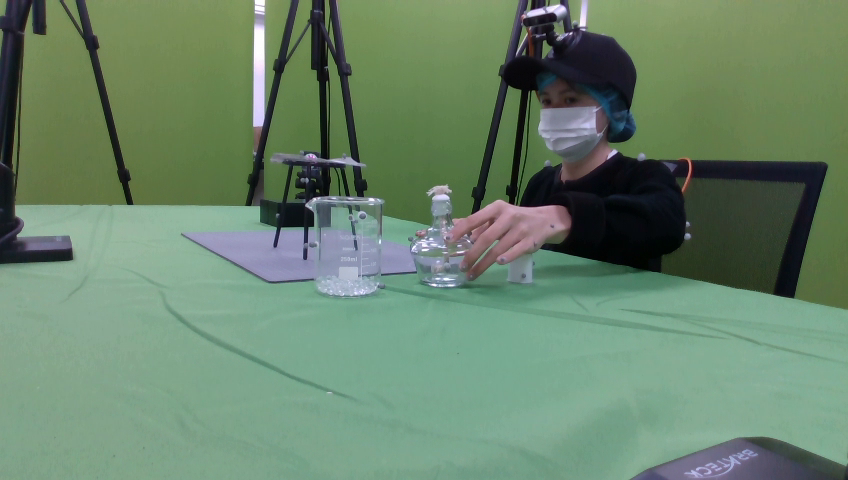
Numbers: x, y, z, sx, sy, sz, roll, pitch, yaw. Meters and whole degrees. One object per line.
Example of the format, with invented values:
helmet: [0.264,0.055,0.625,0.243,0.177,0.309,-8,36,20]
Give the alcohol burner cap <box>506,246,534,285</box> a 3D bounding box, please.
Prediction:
alcohol burner cap: [0.119,0.031,0.740,0.034,0.048,0.034,4,8,0]

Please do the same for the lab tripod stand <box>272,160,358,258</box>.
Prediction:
lab tripod stand: [-0.159,-0.048,0.876,0.148,0.131,0.148,3,5,0]

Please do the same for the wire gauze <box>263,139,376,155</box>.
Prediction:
wire gauze: [-0.151,-0.130,0.869,0.122,0.011,0.124,-8,5,-35]

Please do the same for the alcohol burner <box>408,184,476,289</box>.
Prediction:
alcohol burner: [0.020,-0.005,0.695,0.078,0.119,0.078,-3,9,1]

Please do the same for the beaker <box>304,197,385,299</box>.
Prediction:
beaker: [-0.083,0.007,0.628,0.084,0.100,0.073,-1,7,-22]
